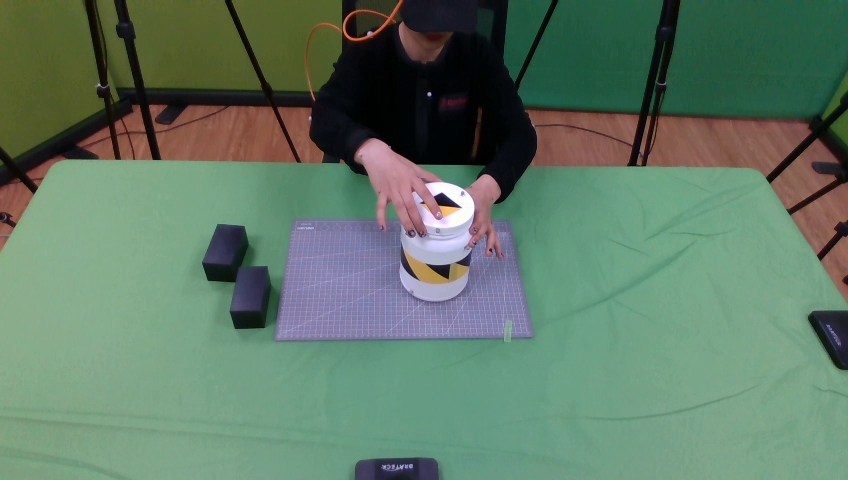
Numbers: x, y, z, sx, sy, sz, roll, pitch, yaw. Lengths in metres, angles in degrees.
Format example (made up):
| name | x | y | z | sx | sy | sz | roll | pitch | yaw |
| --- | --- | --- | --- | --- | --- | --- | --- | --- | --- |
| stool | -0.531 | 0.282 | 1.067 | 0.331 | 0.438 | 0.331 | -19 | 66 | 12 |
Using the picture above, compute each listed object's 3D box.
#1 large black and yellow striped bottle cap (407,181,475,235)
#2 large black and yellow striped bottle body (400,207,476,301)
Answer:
| name | x | y | z | sx | sy | sz | roll | pitch | yaw |
| --- | --- | --- | --- | --- | --- | --- | --- | --- | --- |
| large black and yellow striped bottle cap | 0.028 | -0.055 | 1.013 | 0.115 | 0.019 | 0.114 | 2 | 48 | -2 |
| large black and yellow striped bottle body | 0.022 | 0.006 | 1.076 | 0.131 | 0.185 | 0.130 | 2 | 46 | -2 |
